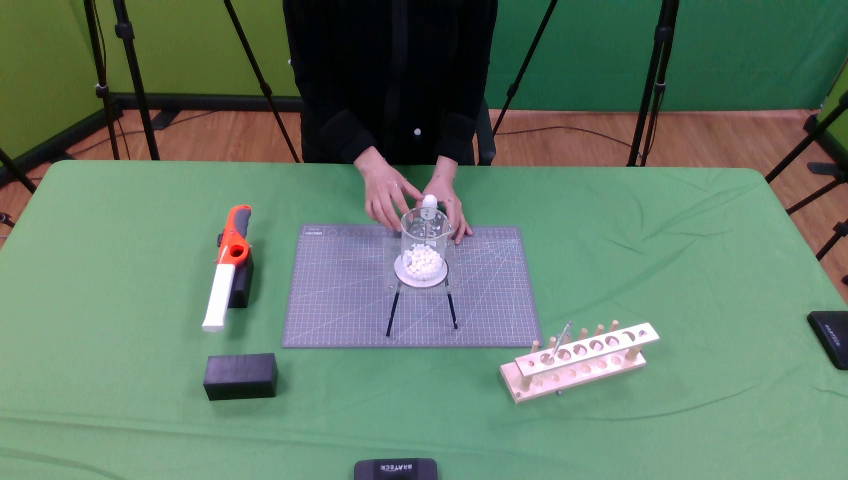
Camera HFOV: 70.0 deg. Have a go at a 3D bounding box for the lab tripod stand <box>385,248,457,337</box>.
[{"bbox_3d":[-0.010,0.087,1.032,0.148,0.132,0.147,1,45,-1],"label":"lab tripod stand"}]

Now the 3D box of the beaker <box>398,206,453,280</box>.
[{"bbox_3d":[0.000,0.008,0.950,0.084,0.101,0.073,10,45,6],"label":"beaker"}]

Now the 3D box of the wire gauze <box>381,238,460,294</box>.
[{"bbox_3d":[-0.007,0.042,0.985,0.125,0.011,0.120,-1,43,-2],"label":"wire gauze"}]

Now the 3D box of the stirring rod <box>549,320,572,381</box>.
[{"bbox_3d":[0.202,0.167,0.901,0.006,0.177,0.014,-17,54,-11],"label":"stirring rod"}]

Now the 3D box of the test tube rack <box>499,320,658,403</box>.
[{"bbox_3d":[0.252,0.187,0.994,0.243,0.085,0.066,-12,48,-15],"label":"test tube rack"}]

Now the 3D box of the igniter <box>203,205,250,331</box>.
[{"bbox_3d":[-0.345,0.039,1.065,0.057,0.025,0.274,2,48,-6],"label":"igniter"}]

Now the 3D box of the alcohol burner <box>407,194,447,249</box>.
[{"bbox_3d":[0.006,-0.040,1.170,0.078,0.120,0.077,1,47,0],"label":"alcohol burner"}]

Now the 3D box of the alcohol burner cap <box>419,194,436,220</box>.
[{"bbox_3d":[0.008,-0.065,1.143,0.034,0.048,0.033,4,44,-4],"label":"alcohol burner cap"}]
